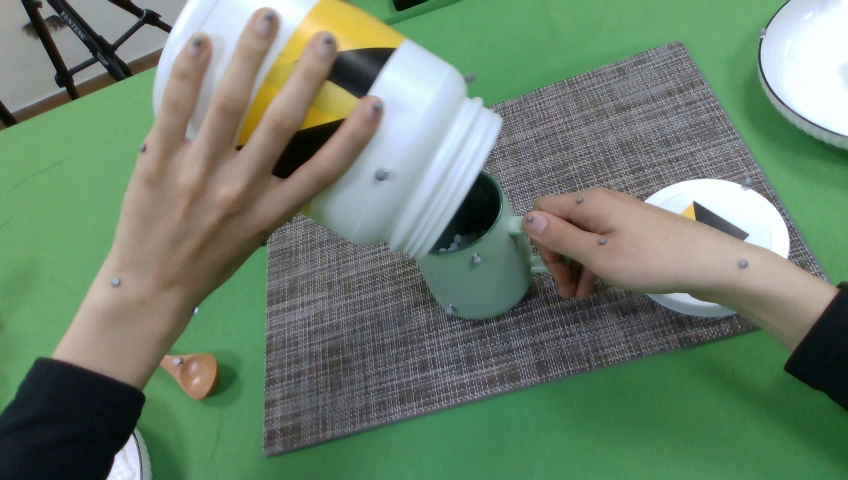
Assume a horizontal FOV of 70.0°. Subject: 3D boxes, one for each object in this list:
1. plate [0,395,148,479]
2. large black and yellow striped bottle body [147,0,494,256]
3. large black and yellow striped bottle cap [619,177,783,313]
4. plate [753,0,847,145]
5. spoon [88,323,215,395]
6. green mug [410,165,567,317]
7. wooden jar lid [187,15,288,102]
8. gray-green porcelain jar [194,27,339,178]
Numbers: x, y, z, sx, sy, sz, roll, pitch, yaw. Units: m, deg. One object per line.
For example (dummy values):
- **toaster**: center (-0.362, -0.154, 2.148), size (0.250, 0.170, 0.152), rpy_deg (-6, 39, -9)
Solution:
- **plate**: center (-0.318, 0.236, 0.507), size (0.209, 0.038, 0.207), rpy_deg (-10, 55, 15)
- **large black and yellow striped bottle body**: center (-0.060, -0.079, 0.390), size (0.184, 0.131, 0.130), rpy_deg (29, 68, -5)
- **large black and yellow striped bottle cap**: center (0.211, 0.001, 0.466), size (0.115, 0.019, 0.114), rpy_deg (-11, 55, 16)
- **plate**: center (0.381, -0.149, 0.490), size (0.207, 0.039, 0.205), rpy_deg (-10, 56, 15)
- **spoon**: center (-0.267, 0.105, 0.582), size (0.192, 0.022, 0.041), rpy_deg (13, 79, 27)
- **green mug**: center (0.048, 0.002, 0.473), size (0.125, 0.106, 0.092), rpy_deg (1, 59, 21)
- **wooden jar lid**: center (-0.175, -0.172, 0.581), size (0.108, 0.021, 0.107), rpy_deg (-12, 54, 18)
- **gray-green porcelain jar**: center (-0.155, -0.135, 0.629), size (0.105, 0.128, 0.105), rpy_deg (-11, 51, 15)
